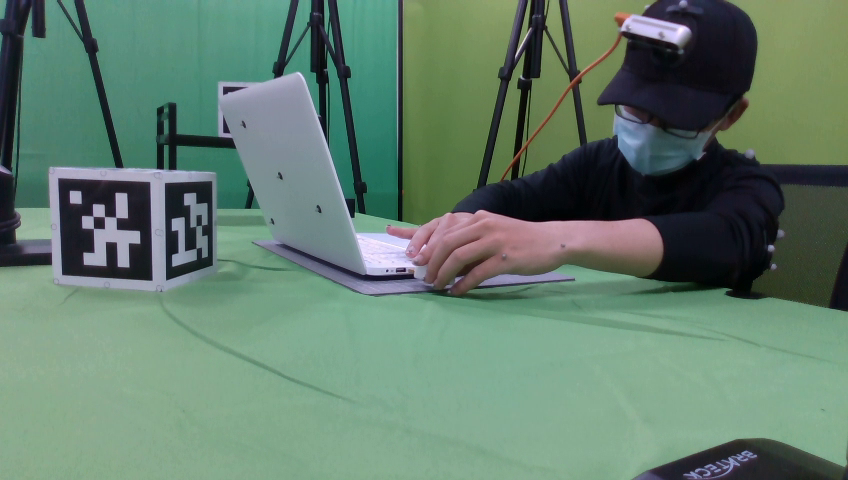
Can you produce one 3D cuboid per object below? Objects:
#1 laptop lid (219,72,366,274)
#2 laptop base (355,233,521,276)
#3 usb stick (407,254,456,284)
[{"bbox_3d":[-0.189,-0.087,0.800,0.013,0.242,0.355,-26,21,-26],"label":"laptop lid"},{"bbox_3d":[-0.056,0.018,0.897,0.237,0.023,0.352,1,6,-32],"label":"laptop base"},{"bbox_3d":[0.006,0.031,0.680,0.059,0.027,0.021,7,9,38],"label":"usb stick"}]
